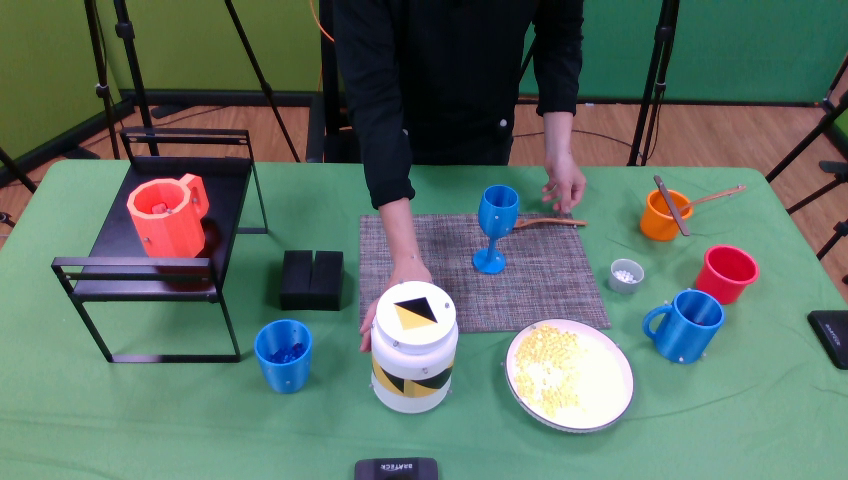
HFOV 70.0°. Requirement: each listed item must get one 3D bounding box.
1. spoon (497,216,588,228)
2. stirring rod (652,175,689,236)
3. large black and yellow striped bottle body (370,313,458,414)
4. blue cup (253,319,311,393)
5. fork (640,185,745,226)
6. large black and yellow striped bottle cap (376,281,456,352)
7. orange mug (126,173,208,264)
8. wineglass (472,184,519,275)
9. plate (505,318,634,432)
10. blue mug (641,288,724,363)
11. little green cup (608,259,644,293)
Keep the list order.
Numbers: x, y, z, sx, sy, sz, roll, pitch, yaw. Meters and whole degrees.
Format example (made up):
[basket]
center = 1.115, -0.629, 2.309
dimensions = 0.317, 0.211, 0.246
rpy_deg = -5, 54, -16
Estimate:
[spoon]
center = 0.246, -0.039, 1.246
dimensions = 0.194, 0.022, 0.041
rpy_deg = -2, 26, -6
[stirring rod]
center = 0.491, -0.072, 1.211
dimensions = 0.014, 0.006, 0.175
rpy_deg = 0, 46, -7
[large black and yellow striped bottle body]
center = -0.017, 0.165, 0.924
dimensions = 0.131, 0.185, 0.130
rpy_deg = 2, 46, -2
[blue cup]
center = -0.217, 0.187, 0.943
dimensions = 0.093, 0.100, 0.092
rpy_deg = 4, 45, -4
[fork]
center = 0.534, -0.069, 1.215
dimensions = 0.207, 0.019, 0.028
rpy_deg = -26, 27, 33
[large black and yellow striped bottle cap]
center = -0.011, 0.107, 0.863
dimensions = 0.115, 0.019, 0.114
rpy_deg = 2, 47, -2
[orange mug]
center = -0.371, -0.040, 0.902
dimensions = 0.083, 0.101, 0.126
rpy_deg = 18, 52, 13
[wineglass]
center = 0.129, -0.018, 1.113
dimensions = 0.074, 0.173, 0.073
rpy_deg = 2, 46, -2
[plate]
center = 0.235, 0.221, 0.991
dimensions = 0.209, 0.038, 0.208
rpy_deg = 2, 45, -2
[blue mug]
center = 0.432, 0.144, 1.033
dimensions = 0.116, 0.106, 0.082
rpy_deg = 9, 46, 5
[little green cup]
center = 0.379, 0.070, 1.147
dimensions = 0.061, 0.039, 0.061
rpy_deg = 3, 45, -2
